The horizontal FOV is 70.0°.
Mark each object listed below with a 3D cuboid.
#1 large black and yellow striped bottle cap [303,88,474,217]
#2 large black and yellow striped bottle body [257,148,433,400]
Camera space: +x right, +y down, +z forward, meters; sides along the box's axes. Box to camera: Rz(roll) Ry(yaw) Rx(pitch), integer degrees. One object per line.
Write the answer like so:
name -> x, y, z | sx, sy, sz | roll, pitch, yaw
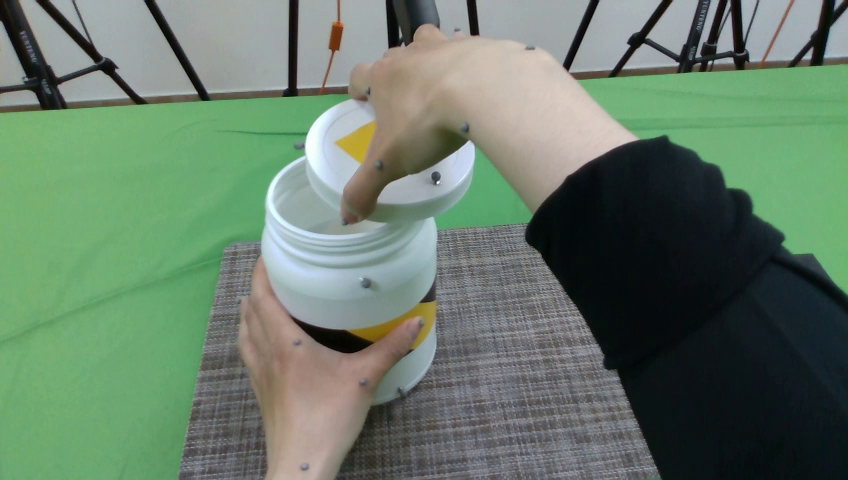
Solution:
large black and yellow striped bottle cap -> -0.023, -0.063, 0.411 | 0.115, 0.019, 0.114 | 3, 49, -3
large black and yellow striped bottle body -> -0.058, 0.027, 0.484 | 0.131, 0.185, 0.129 | 0, 43, 0
